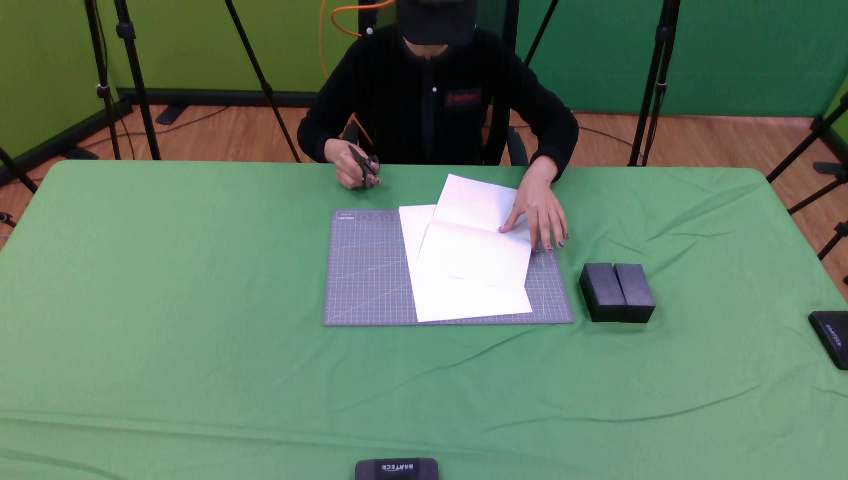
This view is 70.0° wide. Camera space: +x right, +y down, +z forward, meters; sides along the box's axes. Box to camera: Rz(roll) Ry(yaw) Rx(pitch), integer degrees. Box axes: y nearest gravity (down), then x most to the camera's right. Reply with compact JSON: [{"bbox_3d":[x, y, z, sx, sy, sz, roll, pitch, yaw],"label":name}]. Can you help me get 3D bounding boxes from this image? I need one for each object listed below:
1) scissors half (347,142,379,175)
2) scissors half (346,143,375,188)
[{"bbox_3d":[-0.122,-0.167,1.219,0.013,0.175,0.040,14,86,17],"label":"scissors half"},{"bbox_3d":[-0.130,-0.149,1.215,0.013,0.176,0.040,19,72,18],"label":"scissors half"}]
